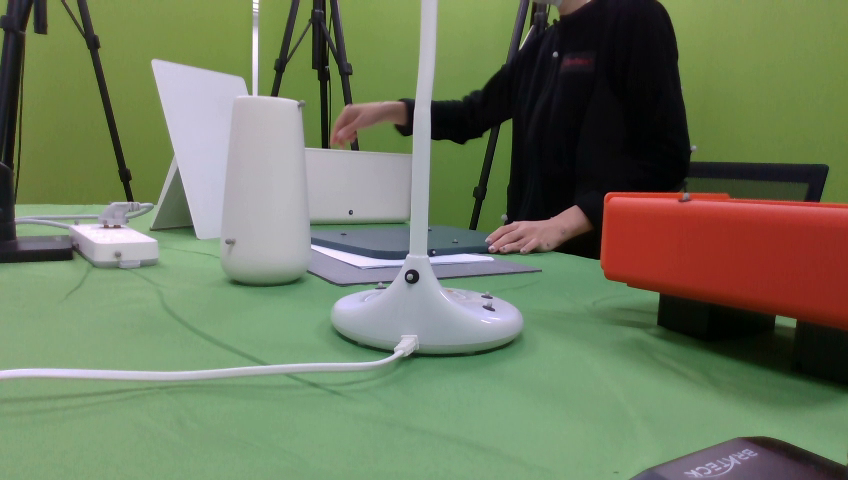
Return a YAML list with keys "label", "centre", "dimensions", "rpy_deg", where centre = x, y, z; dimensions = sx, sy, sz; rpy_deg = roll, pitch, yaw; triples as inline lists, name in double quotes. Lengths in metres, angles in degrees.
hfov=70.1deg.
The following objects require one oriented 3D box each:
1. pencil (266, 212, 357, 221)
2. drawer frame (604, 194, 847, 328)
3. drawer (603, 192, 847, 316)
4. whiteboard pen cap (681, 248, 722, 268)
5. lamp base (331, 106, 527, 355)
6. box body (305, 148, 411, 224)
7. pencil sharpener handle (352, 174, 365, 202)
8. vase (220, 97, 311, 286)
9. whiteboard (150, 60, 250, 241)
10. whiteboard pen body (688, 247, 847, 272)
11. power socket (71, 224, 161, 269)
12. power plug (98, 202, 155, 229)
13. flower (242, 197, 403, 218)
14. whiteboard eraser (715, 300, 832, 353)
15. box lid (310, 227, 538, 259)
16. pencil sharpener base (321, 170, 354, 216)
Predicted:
- label: "pencil"
  centre: [-0.244, -0.049, 1.320]
  dimensions: [0.195, 0.012, 0.012]
  rpy_deg: [3, 7, -13]
- label: "drawer frame"
  centre: [0.298, 0.007, 0.497]
  dimensions: [0.203, 0.082, 0.212]
  rpy_deg: [-1, 7, -34]
- label: "drawer"
  centre: [0.293, 0.002, 0.500]
  dimensions: [0.195, 0.073, 0.210]
  rpy_deg: [-1, 8, -34]
- label: "whiteboard pen cap"
  centre: [0.250, 0.017, 0.544]
  dimensions: [0.033, 0.018, 0.018]
  rpy_deg: [2, 7, 25]
- label: "lamp base"
  centre: [0.006, -0.012, 0.478]
  dimensions: [0.161, 0.180, 0.179]
  rpy_deg: [2, 10, 2]
- label: "box body"
  centre: [-0.230, -0.126, 1.371]
  dimensions: [0.366, 0.160, 0.253]
  rpy_deg: [-2, 8, -33]
- label: "pencil sharpener handle"
  centre: [-0.156, -0.124, 1.449]
  dimensions: [0.031, 0.068, 0.036]
  rpy_deg: [1, 18, -10]
- label: "vase"
  centre: [-0.172, -0.052, 0.662]
  dimensions: [0.098, 0.200, 0.098]
  rpy_deg: [3, 8, 0]
- label: "whiteboard"
  centre: [-0.408, -0.139, 1.093]
  dimensions: [0.143, 0.305, 0.218]
  rpy_deg: [-15, -1, 26]
- label: "whiteboard pen body"
  centre: [0.303, 0.016, 0.520]
  dimensions: [0.140, 0.017, 0.017]
  rpy_deg: [4, 7, 26]
- label: "power socket"
  centre: [-0.408, 0.004, 0.793]
  dimensions: [0.072, 0.032, 0.225]
  rpy_deg: [-2, 8, -38]
- label: "power plug"
  centre: [-0.416, -0.027, 0.848]
  dimensions: [0.073, 0.052, 0.035]
  rpy_deg: [0, 8, -28]
- label: "flower"
  centre: [-0.229, -0.067, 1.372]
  dimensions: [0.362, 0.038, 0.044]
  rpy_deg: [4, 38, -2]
- label: "whiteboard eraser"
  centre: [0.256, 0.042, 0.472]
  dimensions: [0.112, 0.042, 0.056]
  rpy_deg: [43, 19, 30]
- label: "box lid"
  centre: [-0.010, 0.001, 1.036]
  dimensions: [0.374, 0.015, 0.262]
  rpy_deg: [-3, 9, -44]
- label: "pencil sharpener base"
  centre: [-0.206, -0.112, 1.437]
  dimensions: [0.077, 0.107, 0.061]
  rpy_deg: [1, 6, -11]
